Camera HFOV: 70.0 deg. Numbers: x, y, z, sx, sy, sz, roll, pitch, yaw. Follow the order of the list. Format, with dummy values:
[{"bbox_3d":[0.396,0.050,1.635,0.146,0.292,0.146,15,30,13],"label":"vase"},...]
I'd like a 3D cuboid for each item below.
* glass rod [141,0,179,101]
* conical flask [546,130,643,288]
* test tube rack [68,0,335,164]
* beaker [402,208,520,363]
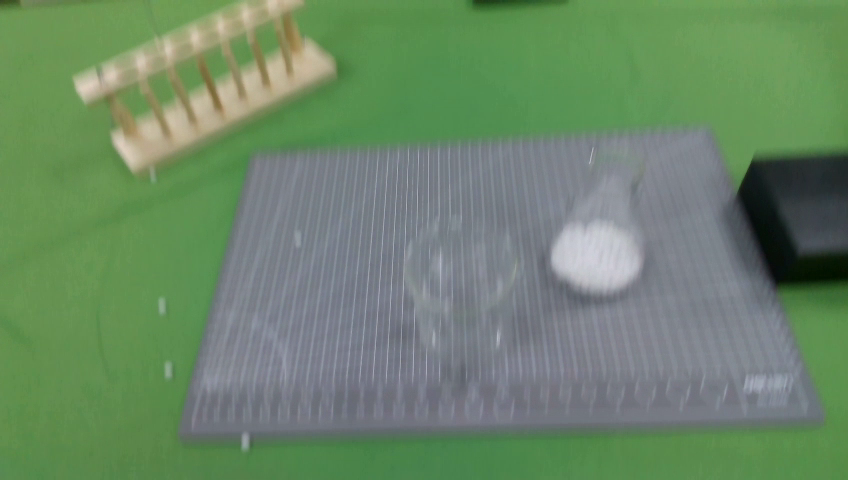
[{"bbox_3d":[-0.261,-0.217,0.570,0.008,0.201,0.008,1,47,-1],"label":"glass rod"},{"bbox_3d":[0.132,-0.024,0.447,0.075,0.123,0.074,-3,54,4],"label":"conical flask"},{"bbox_3d":[-0.218,-0.185,0.624,0.242,0.086,0.066,-35,58,-18],"label":"test tube rack"},{"bbox_3d":[0.025,0.035,0.430,0.074,0.101,0.083,-23,54,-10],"label":"beaker"}]
